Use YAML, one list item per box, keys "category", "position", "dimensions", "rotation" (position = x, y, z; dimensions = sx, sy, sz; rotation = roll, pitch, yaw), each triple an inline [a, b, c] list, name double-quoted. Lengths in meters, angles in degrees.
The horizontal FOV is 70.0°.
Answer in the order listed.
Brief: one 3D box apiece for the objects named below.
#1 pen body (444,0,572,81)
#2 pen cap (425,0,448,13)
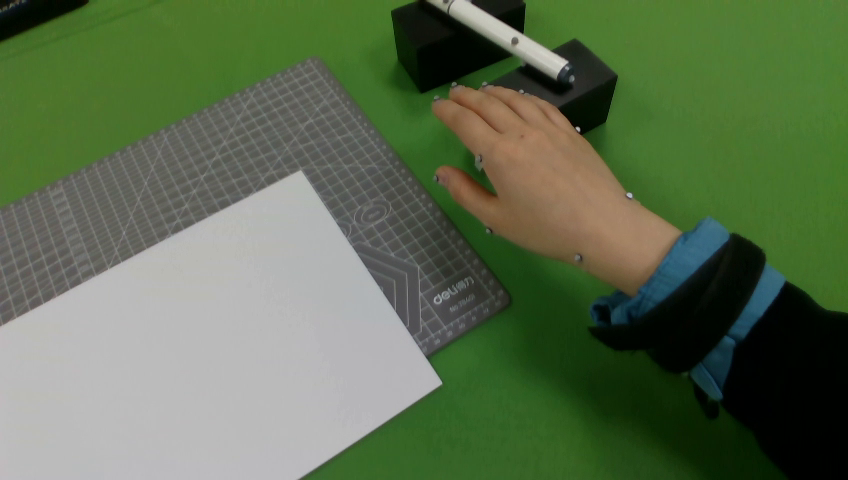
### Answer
- category: "pen body"
  position: [0.053, -0.163, 0.470]
  dimensions: [0.017, 0.017, 0.143]
  rotation: [-42, 65, -18]
- category: "pen cap"
  position: [0.010, -0.200, 0.495]
  dimensions: [0.017, 0.017, 0.038]
  rotation: [-42, 65, -18]
